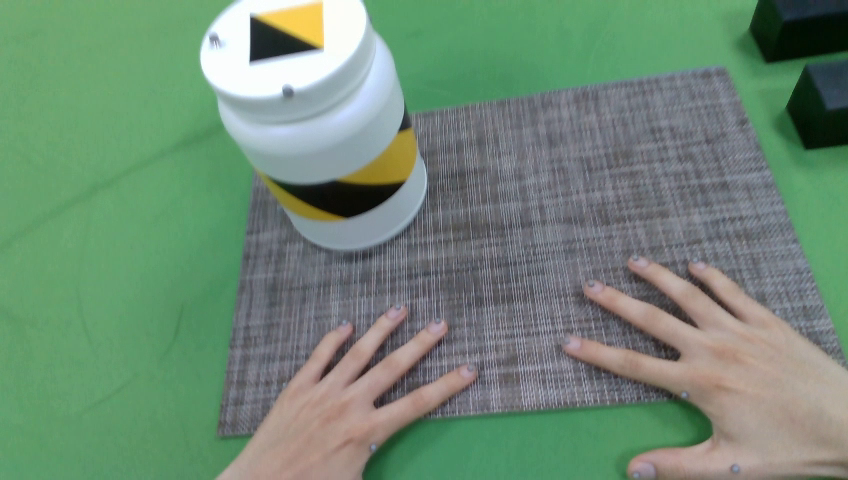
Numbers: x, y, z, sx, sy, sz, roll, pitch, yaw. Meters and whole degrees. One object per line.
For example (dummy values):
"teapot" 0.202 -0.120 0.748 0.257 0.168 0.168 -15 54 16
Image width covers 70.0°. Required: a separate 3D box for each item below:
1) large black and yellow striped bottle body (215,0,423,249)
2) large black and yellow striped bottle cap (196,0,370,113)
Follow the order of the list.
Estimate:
"large black and yellow striped bottle body" -0.078 -0.090 0.471 0.130 0.186 0.129 -5 59 8
"large black and yellow striped bottle cap" -0.093 -0.132 0.401 0.115 0.019 0.114 -4 59 7
